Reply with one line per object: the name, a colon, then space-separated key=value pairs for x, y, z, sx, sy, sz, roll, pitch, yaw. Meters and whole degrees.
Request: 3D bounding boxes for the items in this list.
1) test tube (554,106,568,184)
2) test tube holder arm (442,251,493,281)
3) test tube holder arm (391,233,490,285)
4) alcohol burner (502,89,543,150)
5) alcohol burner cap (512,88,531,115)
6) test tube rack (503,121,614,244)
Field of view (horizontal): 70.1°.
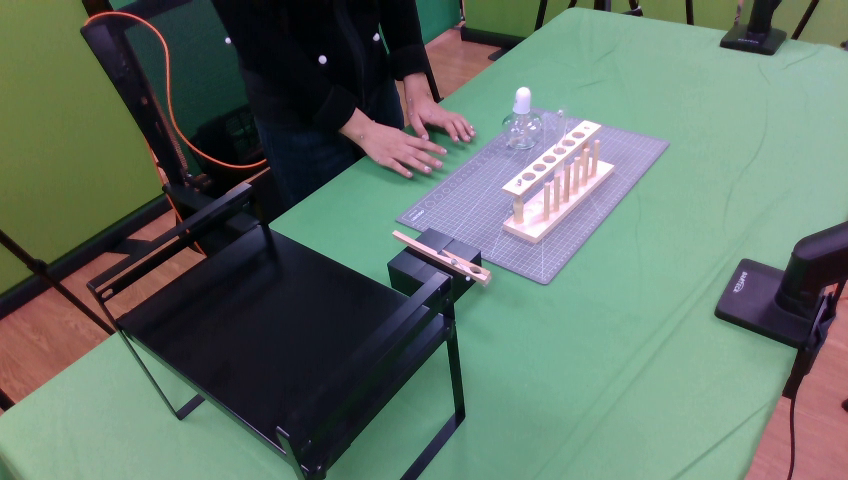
test tube: x=0.223 y=-0.151 z=0.987 sx=0.017 sy=0.151 sz=0.017 roll=-4 pitch=43 yaw=4
test tube holder arm: x=0.058 y=0.036 z=0.851 sx=0.087 sy=0.015 sz=0.010 roll=23 pitch=56 yaw=32
test tube holder arm: x=0.020 y=0.025 z=0.872 sx=0.177 sy=0.015 sz=0.013 roll=22 pitch=56 yaw=31
alcohol burner: x=0.186 y=-0.233 z=1.146 sx=0.078 sy=0.119 sz=0.077 roll=-4 pitch=42 yaw=4
alcohol burner cap: x=0.182 y=-0.260 z=1.123 sx=0.034 sy=0.048 sz=0.033 roll=0 pitch=42 yaw=0
test tube rack: x=0.230 y=-0.101 z=1.006 sx=0.066 sy=0.085 sz=0.243 roll=26 pitch=50 yaw=35
